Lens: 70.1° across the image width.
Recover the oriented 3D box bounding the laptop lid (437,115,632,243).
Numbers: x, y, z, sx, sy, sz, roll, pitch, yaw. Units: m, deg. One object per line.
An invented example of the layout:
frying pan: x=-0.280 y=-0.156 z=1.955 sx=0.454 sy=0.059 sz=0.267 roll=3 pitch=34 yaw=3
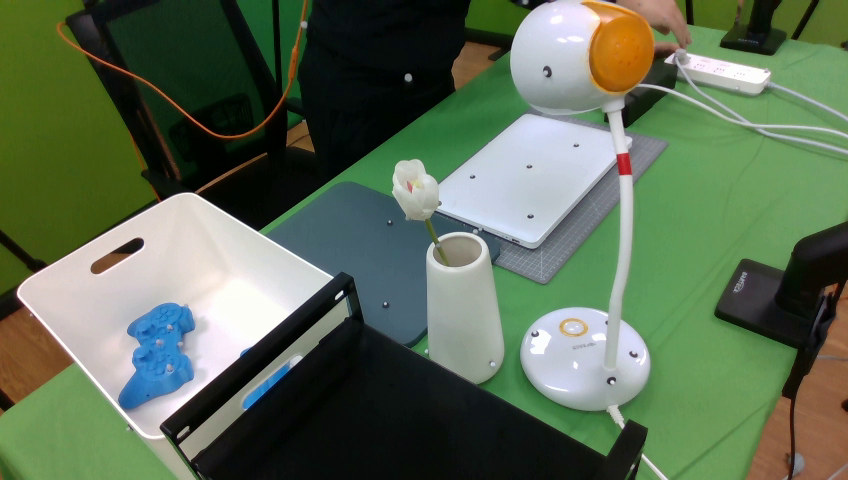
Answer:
laptop lid: x=0.189 y=-0.126 z=1.082 sx=0.239 sy=0.013 sz=0.358 roll=23 pitch=48 yaw=35

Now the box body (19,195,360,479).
box body: x=-0.288 y=0.118 z=0.772 sx=0.361 sy=0.161 sz=0.255 roll=26 pitch=50 yaw=33

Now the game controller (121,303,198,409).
game controller: x=-0.364 y=0.149 z=0.828 sx=0.097 sy=0.052 sz=0.154 roll=-13 pitch=41 yaw=-9

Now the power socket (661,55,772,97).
power socket: x=0.618 y=-0.353 z=1.290 sx=0.225 sy=0.033 sz=0.072 roll=27 pitch=51 yaw=33

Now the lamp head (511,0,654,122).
lamp head: x=0.155 y=-0.168 z=0.564 sx=0.113 sy=0.113 sz=0.122 roll=-18 pitch=23 yaw=-12

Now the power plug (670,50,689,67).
power plug: x=0.540 y=-0.379 z=1.303 sx=0.073 sy=0.053 sz=0.035 roll=-31 pitch=45 yaw=-22

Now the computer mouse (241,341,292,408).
computer mouse: x=-0.201 y=0.177 z=0.776 sx=0.063 sy=0.041 sz=0.116 roll=-11 pitch=44 yaw=-8

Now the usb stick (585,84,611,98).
usb stick: x=0.355 y=-0.307 z=1.254 sx=0.027 sy=0.021 sz=0.058 roll=-7 pitch=6 yaw=-36

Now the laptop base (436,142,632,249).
laptop base: x=0.192 y=-0.116 z=1.087 sx=0.233 sy=0.023 sz=0.355 roll=21 pitch=47 yaw=34

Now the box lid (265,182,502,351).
box lid: x=-0.087 y=0.023 z=0.971 sx=0.368 sy=0.015 sz=0.264 roll=23 pitch=49 yaw=31

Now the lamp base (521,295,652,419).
lamp base: x=0.201 y=0.095 z=0.710 sx=0.161 sy=0.181 sz=0.177 roll=-16 pitch=43 yaw=-10

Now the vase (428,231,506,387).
vase: x=0.050 y=0.087 z=0.728 sx=0.098 sy=0.201 sz=0.097 roll=-3 pitch=40 yaw=3

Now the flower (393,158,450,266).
flower: x=0.028 y=0.035 z=0.664 sx=0.043 sy=0.364 sz=0.038 roll=36 pitch=73 yaw=30
